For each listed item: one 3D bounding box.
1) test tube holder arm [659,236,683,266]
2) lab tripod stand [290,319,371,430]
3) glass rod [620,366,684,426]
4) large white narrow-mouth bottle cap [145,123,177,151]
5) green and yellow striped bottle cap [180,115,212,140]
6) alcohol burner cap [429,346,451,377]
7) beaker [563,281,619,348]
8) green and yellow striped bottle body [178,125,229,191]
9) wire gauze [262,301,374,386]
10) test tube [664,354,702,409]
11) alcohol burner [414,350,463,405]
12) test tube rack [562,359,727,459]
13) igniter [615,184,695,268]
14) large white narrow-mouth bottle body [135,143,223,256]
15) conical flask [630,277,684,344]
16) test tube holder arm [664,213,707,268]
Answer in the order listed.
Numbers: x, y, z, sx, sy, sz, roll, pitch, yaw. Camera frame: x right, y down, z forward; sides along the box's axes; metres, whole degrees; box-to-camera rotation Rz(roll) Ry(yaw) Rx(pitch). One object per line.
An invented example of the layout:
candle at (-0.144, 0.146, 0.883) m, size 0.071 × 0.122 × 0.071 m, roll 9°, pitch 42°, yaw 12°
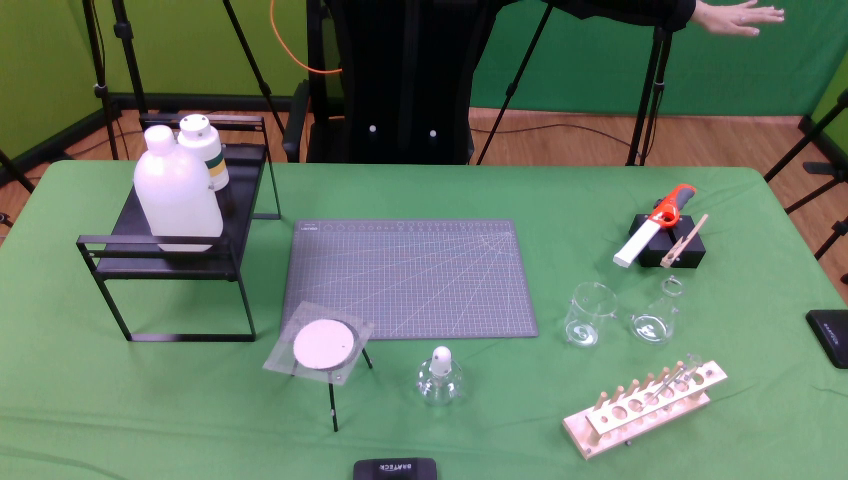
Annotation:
test tube holder arm at (0.472, 0.020, 1.149) m, size 0.010 × 0.015 × 0.088 m, roll 35°, pitch 54°, yaw 27°
lab tripod stand at (-0.146, 0.194, 0.923) m, size 0.148 × 0.132 × 0.147 m, roll 1°, pitch 47°, yaw -1°
glass rod at (0.323, 0.227, 0.866) m, size 0.008 × 0.200 × 0.008 m, roll 5°, pitch 51°, yaw -7°
large white narrow-mouth bottle cap at (-0.354, -0.138, 0.814) m, size 0.038 × 0.024 × 0.037 m, roll 2°, pitch 44°, yaw -1°
green and yellow striped bottle cap at (-0.358, -0.177, 0.951) m, size 0.045 × 0.020 × 0.045 m, roll 2°, pitch 45°, yaw -1°
alcohol burner cap at (0.026, 0.180, 0.912) m, size 0.034 × 0.048 × 0.033 m, roll 1°, pitch 47°, yaw -1°
beaker at (0.283, 0.129, 1.041) m, size 0.074 × 0.101 × 0.083 m, roll 11°, pitch 46°, yaw 7°
green and yellow striped bottle body at (-0.361, -0.142, 0.989) m, size 0.063 × 0.120 × 0.063 m, roll 2°, pitch 46°, yaw -2°
wire gauze at (-0.150, 0.148, 0.873) m, size 0.121 × 0.011 × 0.124 m, roll 14°, pitch 46°, yaw 12°
test tube at (0.384, 0.214, 0.907) m, size 0.017 × 0.151 × 0.017 m, roll -1°, pitch 49°, yaw 1°
alcohol burner at (0.023, 0.205, 0.939) m, size 0.078 × 0.120 × 0.077 m, roll 1°, pitch 48°, yaw -1°
test tube rack at (0.341, 0.247, 0.940) m, size 0.243 × 0.085 × 0.066 m, roll -16°, pitch 49°, yaw -19°
igniter at (0.460, -0.035, 1.196) m, size 0.057 × 0.025 × 0.276 m, roll 33°, pitch 55°, yaw 27°
large white narrow-mouth bottle body at (-0.358, -0.075, 0.874) m, size 0.102 × 0.195 × 0.101 m, roll 2°, pitch 44°, yaw -1°
conical flask at (0.408, 0.117, 1.045) m, size 0.075 × 0.122 × 0.075 m, roll 2°, pitch 46°, yaw -2°
test tube holder arm at (0.507, -0.001, 1.171) m, size 0.013 × 0.015 × 0.178 m, roll 34°, pitch 54°, yaw 26°
